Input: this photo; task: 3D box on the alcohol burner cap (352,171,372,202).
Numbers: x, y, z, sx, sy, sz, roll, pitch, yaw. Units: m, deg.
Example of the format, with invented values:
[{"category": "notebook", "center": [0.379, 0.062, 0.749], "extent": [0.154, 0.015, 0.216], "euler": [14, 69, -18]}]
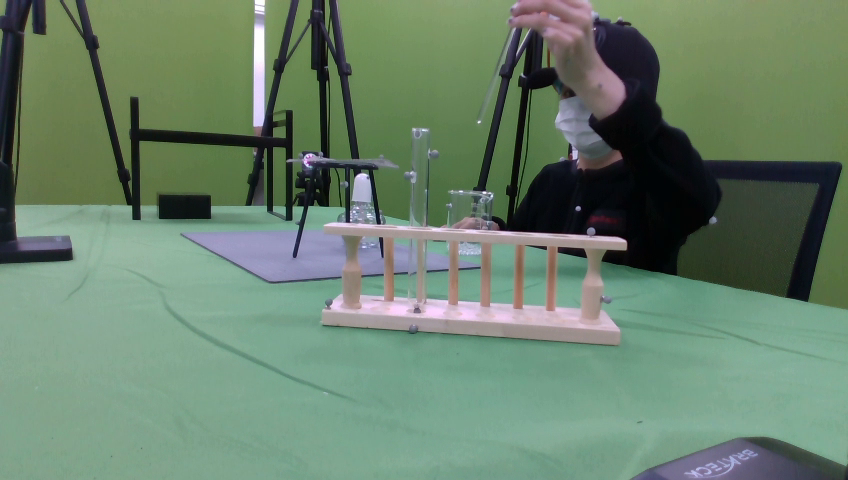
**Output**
[{"category": "alcohol burner cap", "center": [-0.096, -0.084, 0.951], "extent": [0.034, 0.048, 0.034], "euler": [6, 5, 0]}]

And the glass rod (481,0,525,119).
[{"category": "glass rod", "center": [0.099, -0.234, 0.688], "extent": [0.008, 0.199, 0.008], "euler": [17, 16, -5]}]

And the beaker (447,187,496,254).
[{"category": "beaker", "center": [0.076, -0.031, 0.949], "extent": [0.074, 0.100, 0.083], "euler": [-5, 11, -42]}]

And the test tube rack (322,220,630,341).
[{"category": "test tube rack", "center": [0.041, 0.029, 0.512], "extent": [0.242, 0.085, 0.067], "euler": [3, 7, 5]}]

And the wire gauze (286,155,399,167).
[{"category": "wire gauze", "center": [-0.101, -0.105, 0.788], "extent": [0.121, 0.011, 0.125], "euler": [4, 6, 6]}]

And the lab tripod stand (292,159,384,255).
[{"category": "lab tripod stand", "center": [-0.105, -0.039, 0.797], "extent": [0.148, 0.131, 0.148], "euler": [2, 5, 0]}]

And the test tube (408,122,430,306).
[{"category": "test tube", "center": [-0.004, -0.019, 0.489], "extent": [0.017, 0.150, 0.017], "euler": [1, 11, 0]}]

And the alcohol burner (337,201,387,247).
[{"category": "alcohol burner", "center": [-0.098, -0.049, 0.954], "extent": [0.078, 0.119, 0.078], "euler": [0, 7, 0]}]
